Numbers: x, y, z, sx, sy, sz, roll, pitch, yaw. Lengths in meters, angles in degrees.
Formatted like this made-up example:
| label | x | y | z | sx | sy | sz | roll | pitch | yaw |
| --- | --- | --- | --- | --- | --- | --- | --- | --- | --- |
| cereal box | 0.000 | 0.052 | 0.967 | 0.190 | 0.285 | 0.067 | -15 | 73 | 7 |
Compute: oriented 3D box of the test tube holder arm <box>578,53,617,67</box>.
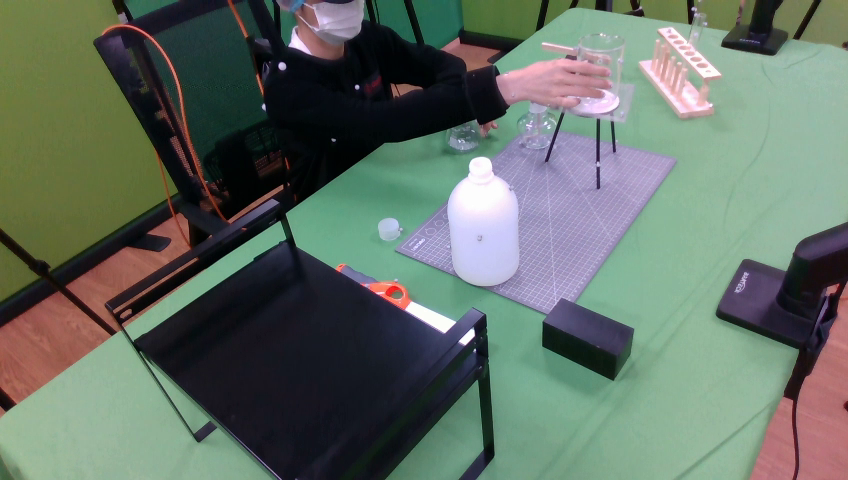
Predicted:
| label | x | y | z | sx | sy | sz | roll | pitch | yaw |
| --- | --- | --- | --- | --- | --- | --- | --- | --- | --- |
| test tube holder arm | 0.376 | -0.393 | 1.314 | 0.087 | 0.015 | 0.010 | 26 | 50 | 32 |

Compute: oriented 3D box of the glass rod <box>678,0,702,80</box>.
| label | x | y | z | sx | sy | sz | roll | pitch | yaw |
| --- | --- | --- | --- | --- | --- | --- | --- | --- | --- |
| glass rod | 0.543 | -0.417 | 1.233 | 0.008 | 0.200 | 0.008 | 1 | 39 | 0 |

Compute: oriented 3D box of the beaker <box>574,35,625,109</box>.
| label | x | y | z | sx | sy | sz | roll | pitch | yaw |
| --- | --- | --- | --- | --- | --- | --- | --- | --- | --- |
| beaker | 0.285 | -0.274 | 0.989 | 0.073 | 0.100 | 0.084 | 17 | 44 | 25 |

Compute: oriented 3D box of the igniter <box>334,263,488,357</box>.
| label | x | y | z | sx | sy | sz | roll | pitch | yaw |
| --- | --- | --- | --- | --- | --- | --- | --- | --- | --- |
| igniter | -0.030 | 0.095 | 0.872 | 0.274 | 0.025 | 0.057 | 23 | 60 | 31 |

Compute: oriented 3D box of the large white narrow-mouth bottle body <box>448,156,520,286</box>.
| label | x | y | z | sx | sy | sz | roll | pitch | yaw |
| --- | --- | --- | --- | --- | --- | --- | --- | --- | --- |
| large white narrow-mouth bottle body | 0.086 | -0.032 | 0.869 | 0.102 | 0.195 | 0.101 | -4 | 40 | 4 |

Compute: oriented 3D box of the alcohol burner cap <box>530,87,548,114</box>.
| label | x | y | z | sx | sy | sz | roll | pitch | yaw |
| --- | --- | --- | --- | --- | --- | --- | --- | --- | --- |
| alcohol burner cap | 0.213 | -0.262 | 1.126 | 0.034 | 0.048 | 0.033 | -9 | 37 | 7 |

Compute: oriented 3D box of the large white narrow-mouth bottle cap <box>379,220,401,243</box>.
| label | x | y | z | sx | sy | sz | roll | pitch | yaw |
| --- | --- | --- | --- | --- | --- | --- | --- | --- | --- |
| large white narrow-mouth bottle cap | -0.057 | -0.015 | 1.011 | 0.038 | 0.024 | 0.037 | -4 | 40 | 4 |

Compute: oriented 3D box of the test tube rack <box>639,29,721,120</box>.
| label | x | y | z | sx | sy | sz | roll | pitch | yaw |
| --- | --- | --- | --- | --- | --- | --- | --- | --- | --- |
| test tube rack | 0.527 | -0.351 | 1.262 | 0.067 | 0.085 | 0.241 | -8 | 40 | 1 |

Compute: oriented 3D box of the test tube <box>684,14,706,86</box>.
| label | x | y | z | sx | sy | sz | roll | pitch | yaw |
| --- | --- | --- | --- | --- | --- | --- | --- | --- | --- |
| test tube | 0.540 | -0.378 | 1.215 | 0.017 | 0.151 | 0.017 | -2 | 44 | 3 |

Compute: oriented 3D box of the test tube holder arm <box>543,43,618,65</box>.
| label | x | y | z | sx | sy | sz | roll | pitch | yaw |
| --- | --- | --- | --- | --- | --- | --- | --- | --- | --- |
| test tube holder arm | 0.345 | -0.413 | 1.340 | 0.177 | 0.015 | 0.013 | 25 | 50 | 31 |

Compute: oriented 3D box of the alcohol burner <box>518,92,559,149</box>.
| label | x | y | z | sx | sy | sz | roll | pitch | yaw |
| --- | --- | --- | --- | --- | --- | --- | --- | --- | --- |
| alcohol burner | 0.218 | -0.235 | 1.149 | 0.078 | 0.119 | 0.077 | -5 | 43 | 5 |

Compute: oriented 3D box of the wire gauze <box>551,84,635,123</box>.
| label | x | y | z | sx | sy | sz | roll | pitch | yaw |
| --- | --- | --- | --- | --- | --- | --- | --- | --- | --- |
| wire gauze | 0.285 | -0.235 | 1.020 | 0.124 | 0.011 | 0.121 | 11 | 41 | 22 |

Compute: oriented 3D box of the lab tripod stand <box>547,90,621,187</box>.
| label | x | y | z | sx | sy | sz | roll | pitch | yaw |
| --- | --- | --- | --- | --- | --- | --- | --- | --- | --- |
| lab tripod stand | 0.289 | -0.184 | 1.062 | 0.148 | 0.132 | 0.147 | -6 | 41 | 6 |

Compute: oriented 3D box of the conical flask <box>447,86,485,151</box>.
| label | x | y | z | sx | sy | sz | roll | pitch | yaw |
| --- | --- | --- | --- | --- | --- | --- | --- | --- | --- |
| conical flask | 0.079 | -0.237 | 1.166 | 0.075 | 0.122 | 0.075 | -3 | 51 | 4 |
